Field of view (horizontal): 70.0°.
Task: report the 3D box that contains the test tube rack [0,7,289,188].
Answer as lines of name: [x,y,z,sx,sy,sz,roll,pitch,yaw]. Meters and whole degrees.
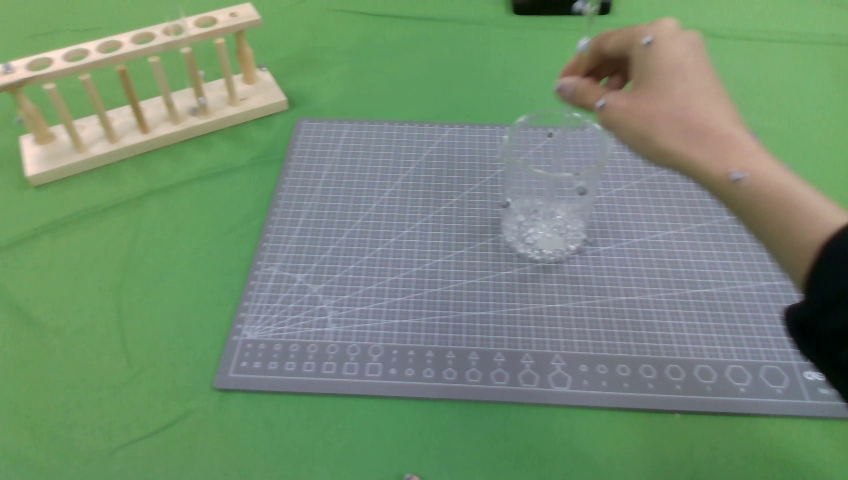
test tube rack: [-0.260,-0.138,0.570,0.243,0.086,0.066,-22,52,-18]

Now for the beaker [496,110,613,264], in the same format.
beaker: [0.093,-0.036,0.466,0.084,0.101,0.073,-11,49,-8]

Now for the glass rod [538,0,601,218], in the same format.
glass rod: [0.095,-0.086,0.402,0.008,0.201,0.008,2,48,-1]

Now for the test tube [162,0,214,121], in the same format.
test tube: [-0.212,-0.172,0.539,0.017,0.151,0.017,1,46,0]
